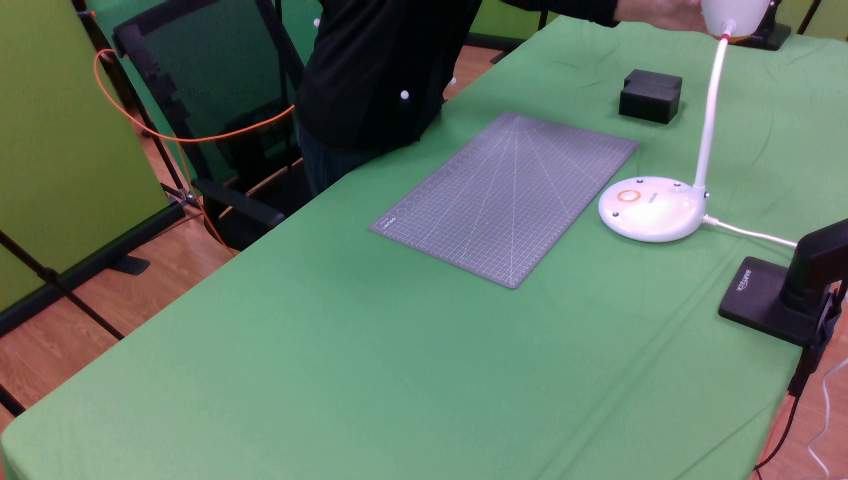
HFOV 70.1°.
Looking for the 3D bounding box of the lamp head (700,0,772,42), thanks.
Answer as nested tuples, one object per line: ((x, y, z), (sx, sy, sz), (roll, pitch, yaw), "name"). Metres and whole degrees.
((0.472, -0.363, 0.914), (0.112, 0.123, 0.112), (-7, 34, 5), "lamp head")

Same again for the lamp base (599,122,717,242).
((0.367, -0.108, 0.919), (0.178, 0.181, 0.160), (13, 45, 20), "lamp base")

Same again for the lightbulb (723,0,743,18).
((0.464, -0.388, 0.907), (0.059, 0.108, 0.059), (-12, 34, 9), "lightbulb")
